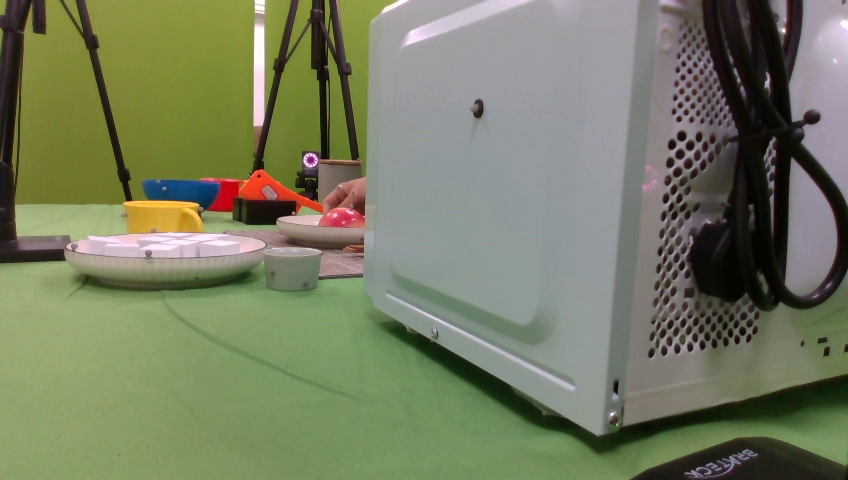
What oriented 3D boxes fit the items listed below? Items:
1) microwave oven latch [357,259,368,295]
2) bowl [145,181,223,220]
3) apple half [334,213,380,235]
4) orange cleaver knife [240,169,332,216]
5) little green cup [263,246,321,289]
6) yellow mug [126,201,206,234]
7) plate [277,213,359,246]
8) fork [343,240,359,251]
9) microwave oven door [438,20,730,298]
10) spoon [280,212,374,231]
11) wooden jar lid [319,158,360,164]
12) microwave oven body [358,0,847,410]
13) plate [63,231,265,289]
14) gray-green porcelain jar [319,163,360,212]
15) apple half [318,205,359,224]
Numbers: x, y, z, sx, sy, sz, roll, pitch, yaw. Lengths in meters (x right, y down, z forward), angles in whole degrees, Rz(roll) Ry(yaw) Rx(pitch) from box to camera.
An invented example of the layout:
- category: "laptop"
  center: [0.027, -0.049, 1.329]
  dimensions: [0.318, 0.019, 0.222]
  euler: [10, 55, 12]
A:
- category: "microwave oven latch"
  center: [-0.019, 0.031, 0.529]
  dimensions: [0.079, 0.029, 0.030]
  euler: [-1, 7, -26]
- category: "bowl"
  center: [-0.499, -0.081, 1.261]
  dimensions: [0.151, 0.077, 0.151]
  euler: [2, 7, 0]
- category: "apple half"
  center: [-0.112, -0.029, 1.034]
  dimensions: [0.081, 0.033, 0.081]
  euler: [1, 10, 0]
- category: "orange cleaver knife"
  center: [-0.286, -0.082, 1.298]
  dimensions: [0.212, 0.077, 0.012]
  euler: [25, -2, -31]
- category: "little green cup"
  center: [-0.142, 0.029, 0.649]
  dimensions: [0.061, 0.038, 0.061]
  euler: [3, 7, 0]
- category: "yellow mug"
  center: [-0.360, -0.019, 0.866]
  dimensions: [0.130, 0.064, 0.100]
  euler: [6, 9, 27]
- category: "plate"
  center: [-0.135, -0.018, 0.994]
  dimensions: [0.209, 0.038, 0.209]
  euler: [2, 7, 0]
- category: "fork"
  center: [-0.029, -0.012, 0.894]
  dimensions: [0.208, 0.018, 0.028]
  euler: [-18, -21, -40]
- category: "microwave oven door"
  center: [0.181, -0.076, 0.618]
  dimensions: [0.358, 0.243, 0.039]
  euler: [-2, 8, -28]
- category: "spoon"
  center: [-0.175, -0.039, 1.130]
  dimensions: [0.195, 0.021, 0.041]
  euler: [-14, 8, -35]
- category: "wooden jar lid"
  center: [-0.203, -0.189, 1.482]
  dimensions: [0.108, 0.020, 0.108]
  euler: [2, 10, 0]
- category: "microwave oven body"
  center: [0.210, -0.051, 0.471]
  dimensions: [0.444, 0.260, 0.324]
  euler: [-1, 7, -28]
- category: "plate"
  center: [-0.288, 0.021, 0.687]
  dimensions: [0.208, 0.039, 0.207]
  euler: [2, 8, 0]
- category: "gray-green porcelain jar"
  center: [-0.204, -0.126, 1.489]
  dimensions: [0.106, 0.126, 0.106]
  euler: [2, 7, 0]
- category: "apple half"
  center: [-0.126, -0.028, 0.954]
  dimensions: [0.081, 0.053, 0.074]
  euler: [-2, 11, -33]
